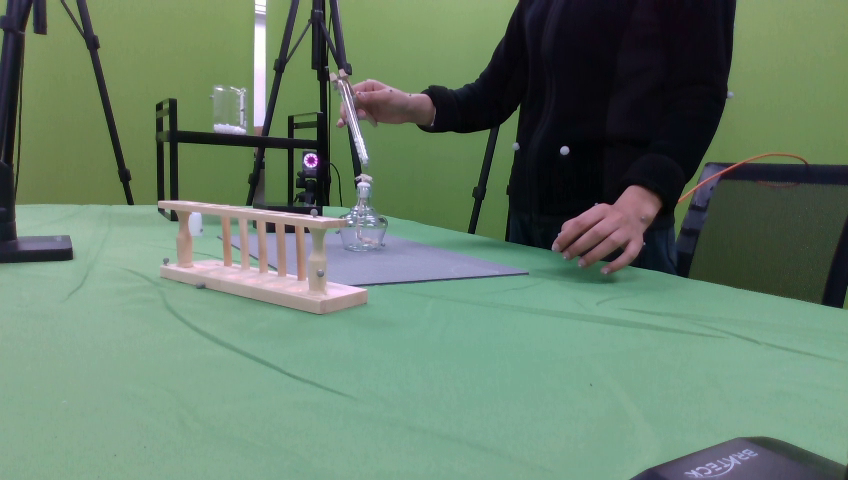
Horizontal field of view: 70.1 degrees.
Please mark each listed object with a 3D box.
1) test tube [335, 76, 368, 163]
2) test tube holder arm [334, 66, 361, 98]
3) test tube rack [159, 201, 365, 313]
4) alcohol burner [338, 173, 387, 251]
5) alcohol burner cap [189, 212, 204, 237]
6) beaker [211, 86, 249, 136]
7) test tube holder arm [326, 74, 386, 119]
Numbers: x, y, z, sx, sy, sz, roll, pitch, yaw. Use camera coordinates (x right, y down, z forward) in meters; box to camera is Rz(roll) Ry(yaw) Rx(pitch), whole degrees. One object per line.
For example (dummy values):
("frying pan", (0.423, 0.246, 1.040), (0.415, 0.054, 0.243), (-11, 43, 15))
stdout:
("test tube", (-0.112, -0.188, 0.936), (0.017, 0.150, 0.017), (-16, -13, -4))
("test tube holder arm", (-0.121, -0.250, 0.972), (0.010, 0.015, 0.088), (-37, -21, 2))
("test tube rack", (-0.173, 0.009, 0.624), (0.241, 0.085, 0.067), (7, 9, 34))
("alcohol burner", (-0.094, -0.043, 0.926), (0.078, 0.119, 0.078), (3, 6, 0))
("alcohol burner cap", (-0.389, -0.029, 1.025), (0.034, 0.048, 0.034), (2, 8, 0))
("beaker", (-0.413, -0.274, 1.297), (0.074, 0.100, 0.083), (-5, 11, -44))
("test tube holder arm", (-0.110, -0.238, 1.014), (0.013, 0.015, 0.179), (-40, -22, 12))
